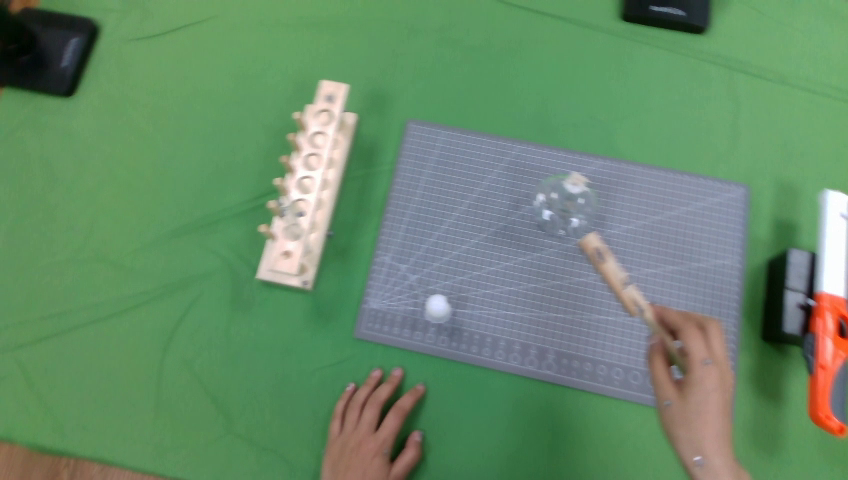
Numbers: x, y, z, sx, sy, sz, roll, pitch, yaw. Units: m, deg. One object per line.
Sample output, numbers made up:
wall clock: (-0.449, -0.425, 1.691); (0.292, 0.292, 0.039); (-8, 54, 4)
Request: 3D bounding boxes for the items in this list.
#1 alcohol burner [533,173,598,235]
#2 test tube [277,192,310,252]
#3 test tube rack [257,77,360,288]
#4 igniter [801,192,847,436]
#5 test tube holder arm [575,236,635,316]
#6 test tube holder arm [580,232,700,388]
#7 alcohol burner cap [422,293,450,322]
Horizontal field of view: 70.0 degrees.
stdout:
alcohol burner: (0.169, -0.049, 0.712); (0.078, 0.120, 0.077); (-1, 74, 2)
test tube: (-0.142, -0.017, 0.670); (0.017, 0.151, 0.017); (1, 70, -3)
test tube rack: (-0.145, -0.072, 0.737); (0.067, 0.085, 0.241); (13, 74, 4)
igniter: (0.453, 0.075, 0.675); (0.057, 0.025, 0.275); (15, 72, 2)
test tube holder arm: (0.171, 0.034, 0.565); (0.010, 0.015, 0.088); (-37, 93, -6)
test tube holder arm: (0.203, 0.066, 0.568); (0.013, 0.015, 0.178); (-38, 93, -6)
alcohol burner cap: (0.015, 0.077, 0.714); (0.034, 0.048, 0.033); (0, 75, -1)
